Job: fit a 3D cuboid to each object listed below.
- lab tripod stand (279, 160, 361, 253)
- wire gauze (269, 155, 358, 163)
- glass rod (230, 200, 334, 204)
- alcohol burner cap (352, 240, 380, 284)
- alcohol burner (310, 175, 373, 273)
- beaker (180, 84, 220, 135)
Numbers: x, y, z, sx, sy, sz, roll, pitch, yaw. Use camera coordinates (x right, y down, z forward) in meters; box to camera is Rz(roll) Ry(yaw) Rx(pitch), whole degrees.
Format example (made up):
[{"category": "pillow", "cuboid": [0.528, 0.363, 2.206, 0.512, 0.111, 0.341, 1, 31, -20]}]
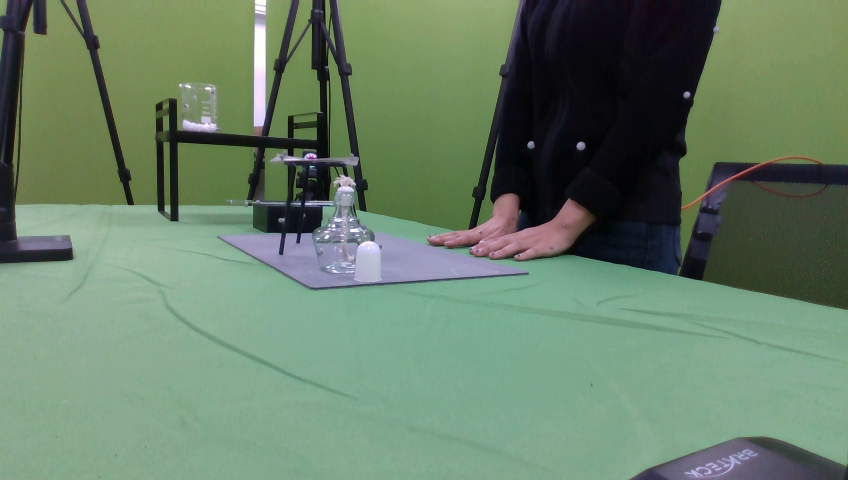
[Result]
[{"category": "lab tripod stand", "cuboid": [-0.166, -0.052, 0.897, 0.148, 0.131, 0.148, 0, 7, 0]}, {"category": "wire gauze", "cuboid": [-0.159, -0.118, 0.886, 0.122, 0.011, 0.125, 1, 7, -9]}, {"category": "glass rod", "cuboid": [-0.267, -0.072, 1.155, 0.201, 0.008, 0.008, -1, 8, -28]}, {"category": "alcohol burner cap", "cuboid": [-0.065, 0.023, 0.690, 0.034, 0.048, 0.034, 3, 10, 0]}, {"category": "alcohol burner", "cuboid": [-0.100, -0.020, 0.740, 0.078, 0.119, 0.078, 1, 6, 0]}, {"category": "beaker", "cuboid": [-0.475, -0.275, 1.281, 0.073, 0.100, 0.084, 7, 9, 36]}]
